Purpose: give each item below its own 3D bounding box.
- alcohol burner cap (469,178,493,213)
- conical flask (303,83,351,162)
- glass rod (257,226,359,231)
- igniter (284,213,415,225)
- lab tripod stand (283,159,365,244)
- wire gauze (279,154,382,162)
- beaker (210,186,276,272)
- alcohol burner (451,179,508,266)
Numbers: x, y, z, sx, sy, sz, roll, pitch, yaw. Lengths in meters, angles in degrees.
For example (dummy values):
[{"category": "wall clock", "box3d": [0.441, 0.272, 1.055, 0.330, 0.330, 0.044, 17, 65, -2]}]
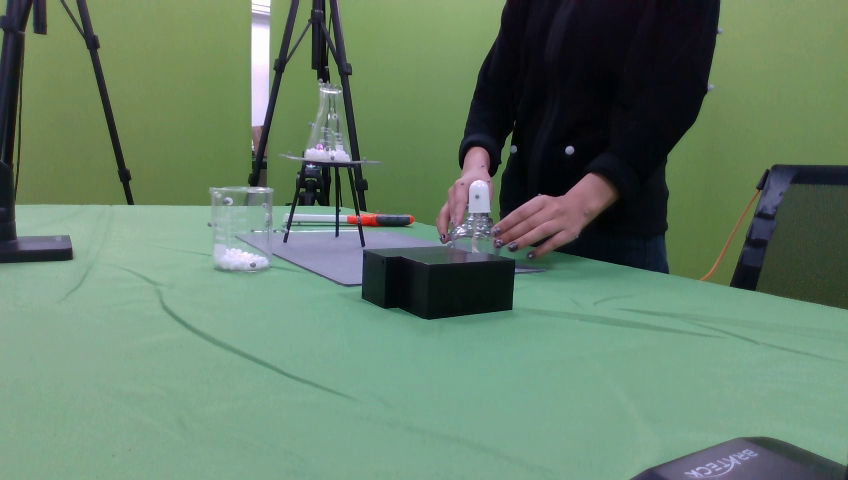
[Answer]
[{"category": "alcohol burner cap", "box3d": [0.077, -0.060, 0.827, 0.034, 0.048, 0.034, -3, 4, 1]}, {"category": "conical flask", "box3d": [-0.151, -0.186, 0.963, 0.075, 0.122, 0.075, 4, 6, 0]}, {"category": "glass rod", "box3d": [-0.215, -0.021, 1.151, 0.201, 0.008, 0.008, -2, 8, -27]}, {"category": "igniter", "box3d": [-0.154, -0.045, 1.282, 0.278, 0.025, 0.057, 0, -3, -20]}, {"category": "lab tripod stand", "box3d": [-0.151, -0.063, 0.983, 0.148, 0.131, 0.148, 4, 7, 0]}, {"category": "wire gauze", "box3d": [-0.149, -0.128, 0.974, 0.124, 0.011, 0.122, 6, 6, 41]}, {"category": "beaker", "box3d": [-0.224, -0.014, 0.738, 0.084, 0.100, 0.074, 4, 7, 16]}, {"category": "alcohol burner", "box3d": [0.077, -0.024, 0.831, 0.078, 0.119, 0.078, 3, 5, 0]}]
